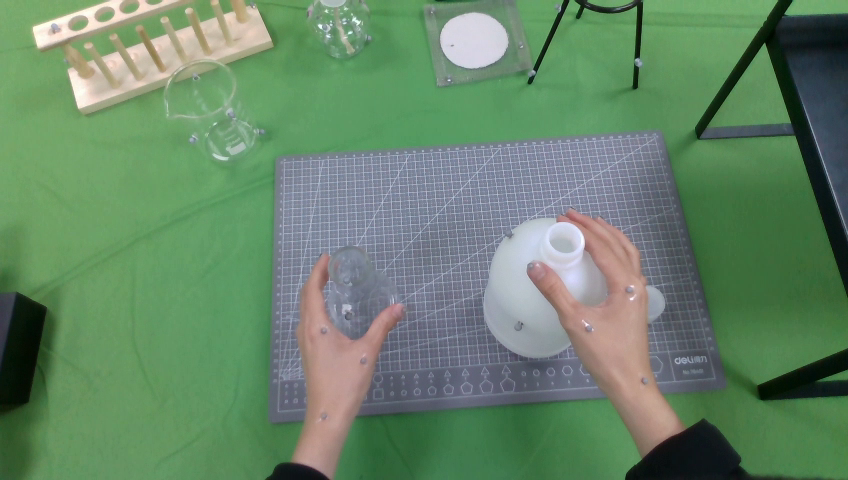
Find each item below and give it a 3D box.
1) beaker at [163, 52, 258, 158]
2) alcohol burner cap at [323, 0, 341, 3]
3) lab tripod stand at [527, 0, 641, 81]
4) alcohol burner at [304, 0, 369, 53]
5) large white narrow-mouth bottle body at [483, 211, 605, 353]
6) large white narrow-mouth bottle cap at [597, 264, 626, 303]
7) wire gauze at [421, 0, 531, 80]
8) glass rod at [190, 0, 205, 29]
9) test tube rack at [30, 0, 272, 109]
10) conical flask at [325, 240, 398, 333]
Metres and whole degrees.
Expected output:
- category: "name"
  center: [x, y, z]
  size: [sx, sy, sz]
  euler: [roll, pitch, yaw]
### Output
- category: "beaker"
  center: [-0.232, -0.141, 0.667]
  size: [0.073, 0.101, 0.084]
  euler: [41, 74, 16]
- category: "alcohol burner cap"
  center: [-0.106, -0.296, 0.682]
  size: [0.034, 0.048, 0.033]
  euler: [3, 66, -7]
- category: "lab tripod stand"
  center: [0.193, -0.254, 0.690]
  size: [0.148, 0.132, 0.147]
  euler: [0, 67, -1]
- category: "alcohol burner"
  center: [-0.105, -0.281, 0.715]
  size: [0.078, 0.120, 0.077]
  euler: [0, 65, 0]
- category: "large white narrow-mouth bottle body"
  center: [0.106, 0.032, 0.540]
  size: [0.102, 0.196, 0.101]
  euler: [-1, 66, 3]
- category: "large white narrow-mouth bottle cap"
  center: [0.190, 0.046, 0.629]
  size: [0.038, 0.024, 0.037]
  euler: [-1, 67, 3]
- category: "wire gauze"
  center: [0.064, -0.261, 0.761]
  size: [0.121, 0.011, 0.124]
  euler: [-8, 68, -4]
- category: "glass rod"
  center: [-0.271, -0.308, 0.671]
  size: [0.008, 0.201, 0.008]
  euler: [2, 65, -3]
- category: "test tube rack"
  center: [-0.315, -0.247, 0.719]
  size: [0.242, 0.086, 0.066]
  euler: [-23, 69, -9]
- category: "conical flask"
  center: [-0.065, 0.039, 0.577]
  size: [0.075, 0.123, 0.075]
  euler: [0, 67, 1]
